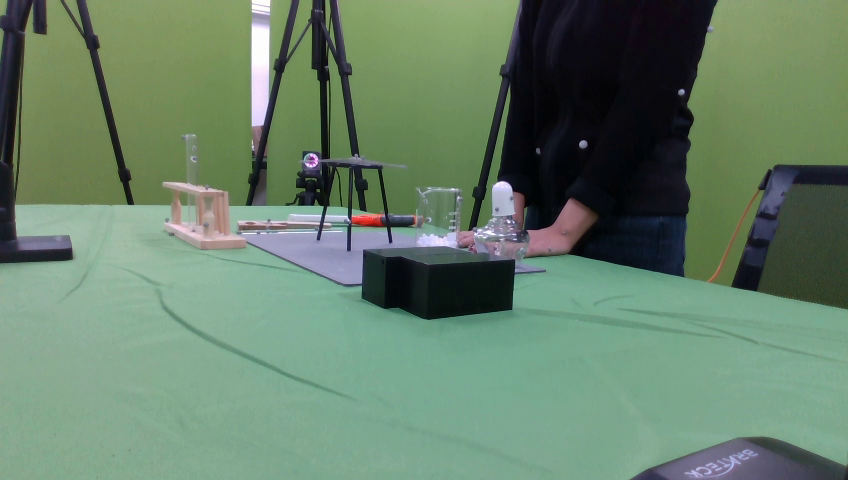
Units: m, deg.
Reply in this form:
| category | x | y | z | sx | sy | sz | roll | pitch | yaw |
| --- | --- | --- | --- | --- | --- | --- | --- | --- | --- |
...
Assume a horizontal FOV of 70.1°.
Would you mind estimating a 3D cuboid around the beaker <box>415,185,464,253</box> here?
| category | x | y | z | sx | sy | sz | roll | pitch | yaw |
| --- | --- | --- | --- | --- | --- | --- | --- | --- | --- |
| beaker | 0.021 | -0.033 | 0.938 | 0.073 | 0.100 | 0.084 | 7 | 9 | 36 |

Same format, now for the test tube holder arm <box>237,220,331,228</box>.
| category | x | y | z | sx | sy | sz | roll | pitch | yaw |
| --- | --- | --- | --- | --- | --- | --- | --- | --- | --- |
| test tube holder arm | -0.260 | -0.029 | 1.141 | 0.179 | 0.015 | 0.013 | -2 | 42 | -33 |

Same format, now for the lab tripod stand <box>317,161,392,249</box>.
| category | x | y | z | sx | sy | sz | roll | pitch | yaw |
| --- | --- | --- | --- | --- | --- | --- | --- | --- | --- |
| lab tripod stand | -0.111 | -0.059 | 0.964 | 0.148 | 0.131 | 0.148 | 4 | 8 | 0 |

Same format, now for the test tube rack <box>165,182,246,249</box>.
| category | x | y | z | sx | sy | sz | roll | pitch | yaw |
| --- | --- | --- | --- | --- | --- | --- | --- | --- | --- |
| test tube rack | -0.360 | -0.045 | 0.983 | 0.067 | 0.085 | 0.241 | -3 | 9 | -34 |

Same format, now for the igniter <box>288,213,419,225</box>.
| category | x | y | z | sx | sy | sz | roll | pitch | yaw |
| --- | --- | --- | --- | --- | --- | --- | --- | --- | --- |
| igniter | -0.145 | -0.044 | 1.278 | 0.278 | 0.025 | 0.057 | -1 | -2 | -21 |

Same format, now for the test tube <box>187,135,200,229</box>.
| category | x | y | z | sx | sy | sz | roll | pitch | yaw |
| --- | --- | --- | --- | --- | --- | --- | --- | --- | --- |
| test tube | -0.366 | -0.092 | 0.959 | 0.017 | 0.150 | 0.017 | 0 | 3 | 0 |

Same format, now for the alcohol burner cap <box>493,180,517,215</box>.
| category | x | y | z | sx | sy | sz | roll | pitch | yaw |
| --- | --- | --- | --- | --- | --- | --- | --- | --- | --- |
| alcohol burner cap | 0.107 | -0.057 | 0.813 | 0.034 | 0.048 | 0.034 | -6 | 11 | 2 |

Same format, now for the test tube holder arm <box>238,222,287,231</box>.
| category | x | y | z | sx | sy | sz | roll | pitch | yaw |
| --- | --- | --- | --- | --- | --- | --- | --- | --- | --- |
| test tube holder arm | -0.296 | -0.024 | 1.113 | 0.088 | 0.015 | 0.010 | -2 | 42 | -32 |

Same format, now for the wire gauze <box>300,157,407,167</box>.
| category | x | y | z | sx | sy | sz | roll | pitch | yaw |
| --- | --- | --- | --- | --- | --- | --- | --- | --- | --- |
| wire gauze | -0.112 | -0.125 | 0.958 | 0.121 | 0.011 | 0.126 | 11 | 11 | 42 |

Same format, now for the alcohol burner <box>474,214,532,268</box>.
| category | x | y | z | sx | sy | sz | roll | pitch | yaw |
| --- | --- | --- | --- | --- | --- | --- | --- | --- | --- |
| alcohol burner | 0.107 | -0.022 | 0.819 | 0.078 | 0.119 | 0.078 | 1 | 9 | 0 |

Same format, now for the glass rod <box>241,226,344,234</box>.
| category | x | y | z | sx | sy | sz | roll | pitch | yaw |
| --- | --- | --- | --- | --- | --- | --- | --- | --- | --- |
| glass rod | -0.239 | -0.019 | 1.119 | 0.201 | 0.008 | 0.008 | -3 | 9 | -34 |
